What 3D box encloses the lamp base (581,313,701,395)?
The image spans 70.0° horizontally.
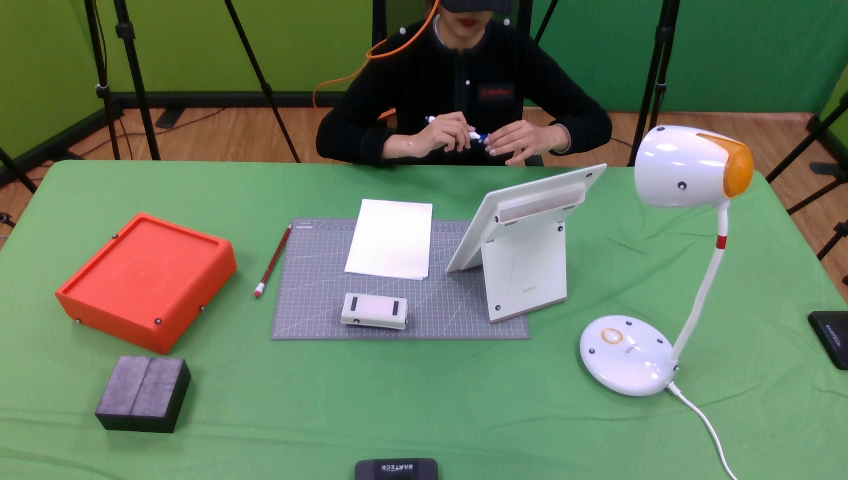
[{"bbox_3d":[0.361,0.144,0.973,0.178,0.181,0.160,34,53,23],"label":"lamp base"}]

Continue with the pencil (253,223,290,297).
[{"bbox_3d":[-0.286,0.033,1.150,0.012,0.012,0.193,9,46,4],"label":"pencil"}]

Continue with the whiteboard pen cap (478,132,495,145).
[{"bbox_3d":[0.130,-0.213,1.264,0.033,0.018,0.018,31,52,16],"label":"whiteboard pen cap"}]

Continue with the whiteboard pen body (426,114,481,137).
[{"bbox_3d":[0.066,-0.241,1.288,0.140,0.017,0.017,24,49,22],"label":"whiteboard pen body"}]

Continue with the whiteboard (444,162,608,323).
[{"bbox_3d":[0.186,0.026,1.028,0.217,0.306,0.143,-14,68,-17],"label":"whiteboard"}]

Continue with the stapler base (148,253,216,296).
[{"bbox_3d":[-0.443,0.059,1.109,0.130,0.024,0.041,24,51,11],"label":"stapler base"}]

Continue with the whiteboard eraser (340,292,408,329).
[{"bbox_3d":[-0.087,0.125,1.052,0.113,0.042,0.055,5,45,1],"label":"whiteboard eraser"}]

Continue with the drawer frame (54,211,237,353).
[{"bbox_3d":[-0.473,0.067,1.055,0.201,0.083,0.212,17,48,11],"label":"drawer frame"}]

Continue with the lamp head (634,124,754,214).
[{"bbox_3d":[0.351,-0.089,0.775,0.112,0.113,0.122,-30,30,-28],"label":"lamp head"}]

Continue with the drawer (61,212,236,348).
[{"bbox_3d":[-0.473,0.064,1.060,0.194,0.073,0.211,18,48,11],"label":"drawer"}]

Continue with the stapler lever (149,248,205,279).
[{"bbox_3d":[-0.443,0.037,1.084,0.118,0.040,0.027,19,50,17],"label":"stapler lever"}]
